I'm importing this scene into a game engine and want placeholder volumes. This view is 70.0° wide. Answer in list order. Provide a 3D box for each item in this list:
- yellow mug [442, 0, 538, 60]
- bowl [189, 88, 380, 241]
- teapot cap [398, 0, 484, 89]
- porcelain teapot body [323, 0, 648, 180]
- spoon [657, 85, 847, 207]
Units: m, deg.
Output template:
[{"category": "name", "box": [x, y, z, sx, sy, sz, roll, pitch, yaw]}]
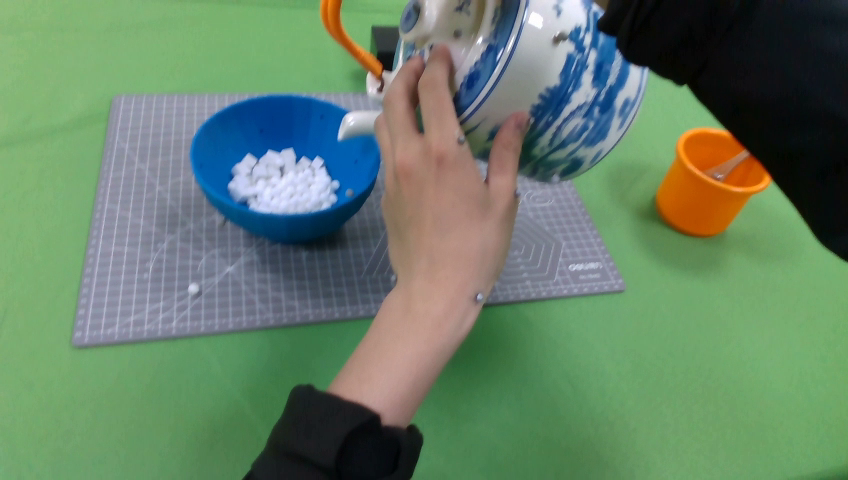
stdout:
[{"category": "yellow mug", "box": [0.067, -0.245, 0.659, 0.099, 0.064, 0.130, 23, 52, 9]}, {"category": "bowl", "box": [-0.115, -0.053, 0.517, 0.151, 0.077, 0.150, 5, 49, -6]}, {"category": "teapot cap", "box": [0.006, -0.143, 0.400, 0.044, 0.085, 0.084, 9, 44, -35]}, {"category": "porcelain teapot body", "box": [0.022, -0.122, 0.441, 0.227, 0.205, 0.144, 13, 55, -35]}, {"category": "spoon", "box": [0.317, -0.090, 0.585, 0.022, 0.194, 0.041, 33, 31, -45]}]
